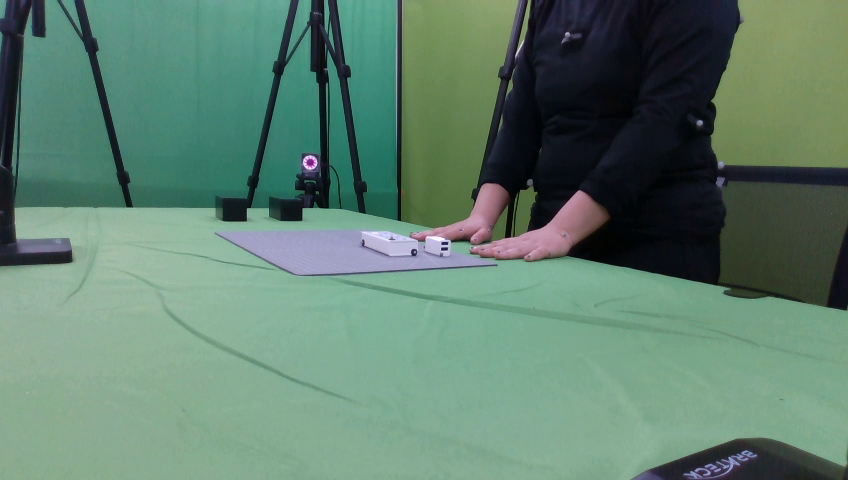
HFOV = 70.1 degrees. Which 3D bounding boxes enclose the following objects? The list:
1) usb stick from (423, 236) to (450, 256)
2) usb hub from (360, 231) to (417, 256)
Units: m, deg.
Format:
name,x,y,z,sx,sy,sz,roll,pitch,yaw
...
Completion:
name,x,y,z,sx,sy,sz,roll,pitch,yaw
usb stick,0.017,0.009,0.937,0.021,0.027,0.059,0,5,-29
usb hub,-0.059,0.005,0.951,0.050,0.025,0.124,-1,8,-26
